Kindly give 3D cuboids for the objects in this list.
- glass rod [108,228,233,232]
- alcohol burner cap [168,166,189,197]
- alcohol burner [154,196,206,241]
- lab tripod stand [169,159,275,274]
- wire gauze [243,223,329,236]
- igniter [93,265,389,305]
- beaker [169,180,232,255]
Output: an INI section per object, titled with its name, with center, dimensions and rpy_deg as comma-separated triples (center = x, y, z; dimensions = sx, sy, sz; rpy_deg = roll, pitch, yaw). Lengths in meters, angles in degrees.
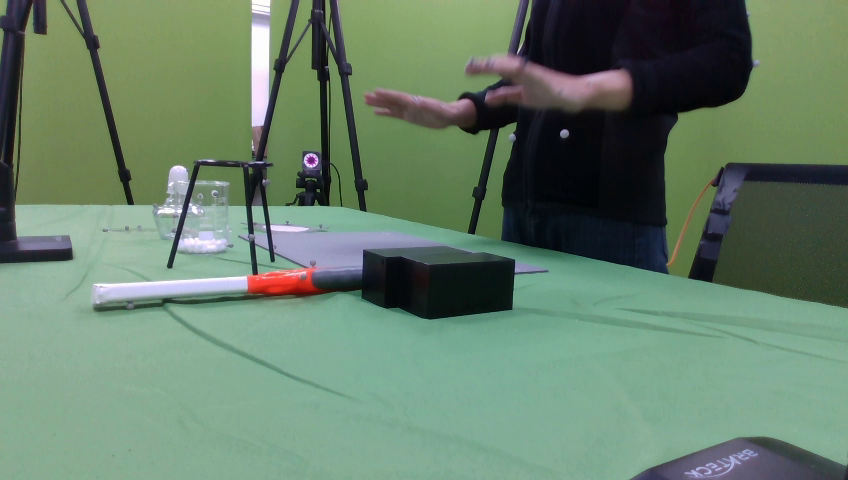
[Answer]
[glass rod]
center = -0.437, -0.018, 1.054
dimensions = 0.201, 0.008, 0.008
rpy_deg = -1, 8, -27
[alcohol burner cap]
center = -0.392, -0.095, 0.970
dimensions = 0.034, 0.048, 0.034
rpy_deg = 8, 7, -1
[alcohol burner]
center = -0.393, -0.059, 0.974
dimensions = 0.078, 0.119, 0.078
rpy_deg = 1, 8, 0
[lab tripod stand]
center = -0.230, -0.030, 0.724
dimensions = 0.148, 0.131, 0.148
rpy_deg = 1, 9, 0
[wire gauze]
center = -0.266, -0.024, 1.156
dimensions = 0.124, 0.011, 0.122
rpy_deg = 12, 12, 40
[igniter]
center = -0.164, 0.042, 0.589
dimensions = 0.278, 0.025, 0.057
rpy_deg = -2, -7, -31
[beaker]
center = -0.313, -0.032, 0.850
dimensions = 0.084, 0.100, 0.073
rpy_deg = -5, 10, -41
